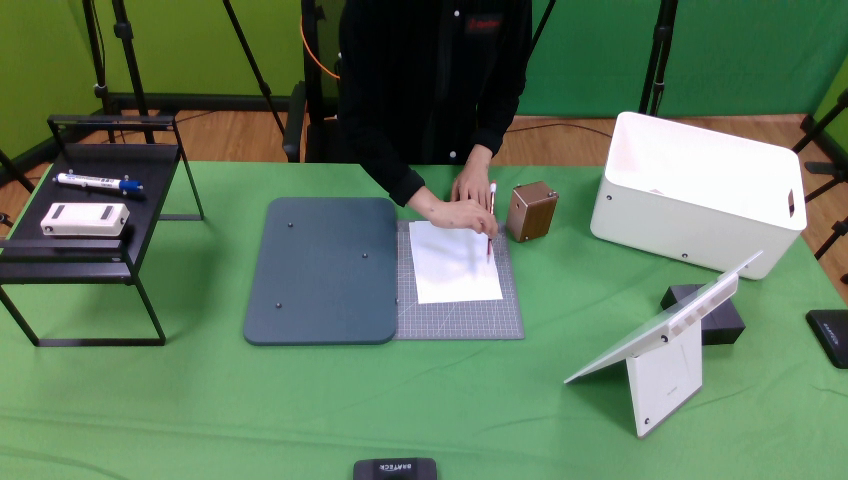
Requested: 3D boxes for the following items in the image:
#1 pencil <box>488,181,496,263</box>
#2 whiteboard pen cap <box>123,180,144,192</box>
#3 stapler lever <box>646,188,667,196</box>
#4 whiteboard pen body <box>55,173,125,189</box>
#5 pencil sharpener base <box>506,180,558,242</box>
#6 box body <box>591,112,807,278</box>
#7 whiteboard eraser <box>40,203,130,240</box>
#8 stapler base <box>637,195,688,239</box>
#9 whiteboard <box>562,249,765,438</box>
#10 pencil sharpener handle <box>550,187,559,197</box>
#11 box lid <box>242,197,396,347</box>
[{"bbox_3d":[0.131,-0.037,1.173,0.012,0.012,0.193,6,57,1],"label":"pencil"},{"bbox_3d":[-0.479,-0.089,0.993,0.033,0.018,0.018,7,46,14],"label":"whiteboard pen cap"},{"bbox_3d":[0.507,-0.075,1.262,0.027,0.040,0.117,-14,46,-19],"label":"stapler lever"},{"bbox_3d":[-0.539,-0.095,0.998,0.141,0.017,0.017,7,46,6],"label":"whiteboard pen body"},{"bbox_3d":[0.216,-0.058,1.211,0.077,0.107,0.061,-16,49,-19],"label":"pencil sharpener base"},{"bbox_3d":[0.540,-0.092,1.229,0.363,0.161,0.253,16,47,11],"label":"box body"},{"bbox_3d":[-0.513,-0.028,0.922,0.113,0.042,0.055,1,48,-3],"label":"whiteboard eraser"},{"bbox_3d":[0.507,-0.055,1.280,0.041,0.024,0.129,-14,47,-19],"label":"stapler base"},{"bbox_3d":[0.386,0.175,0.905,0.217,0.306,0.143,-26,72,-26],"label":"whiteboard"},{"bbox_3d":[0.261,-0.084,1.221,0.031,0.068,0.036,-16,66,-19],"label":"pencil sharpener handle"},{"bbox_3d":[-0.186,0.046,1.147,0.263,0.015,0.369,0,46,-3],"label":"box lid"}]
